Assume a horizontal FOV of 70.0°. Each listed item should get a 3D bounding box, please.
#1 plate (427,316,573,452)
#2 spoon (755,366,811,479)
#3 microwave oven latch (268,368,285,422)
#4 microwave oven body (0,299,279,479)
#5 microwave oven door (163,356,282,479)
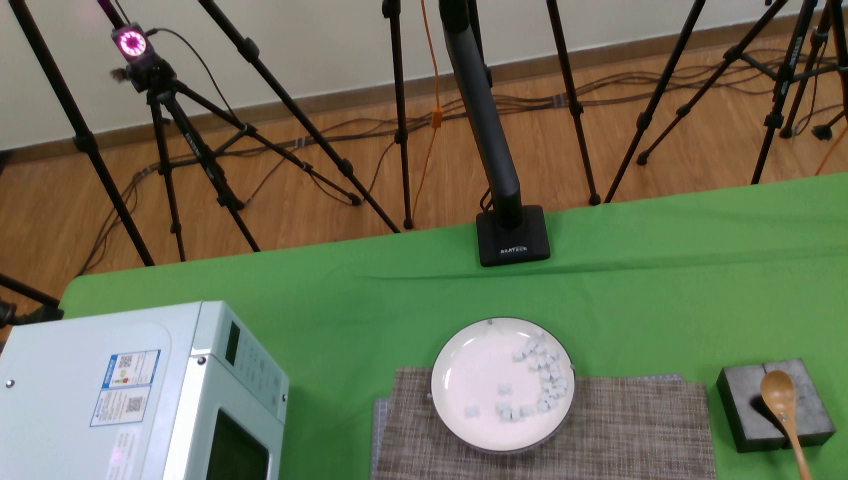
[{"bbox_3d":[0.109,0.208,0.879,0.209,0.038,0.207,-6,51,8],"label":"plate"},{"bbox_3d":[0.449,0.250,0.739,0.041,0.022,0.192,-11,74,2],"label":"spoon"},{"bbox_3d":[-0.228,0.235,0.918,0.030,0.030,0.078,-8,53,6],"label":"microwave oven latch"},{"bbox_3d":[-0.385,0.338,0.753,0.326,0.263,0.437,-8,53,6],"label":"microwave oven body"},{"bbox_3d":[-0.241,0.347,0.707,0.039,0.246,0.352,-9,52,7],"label":"microwave oven door"}]
